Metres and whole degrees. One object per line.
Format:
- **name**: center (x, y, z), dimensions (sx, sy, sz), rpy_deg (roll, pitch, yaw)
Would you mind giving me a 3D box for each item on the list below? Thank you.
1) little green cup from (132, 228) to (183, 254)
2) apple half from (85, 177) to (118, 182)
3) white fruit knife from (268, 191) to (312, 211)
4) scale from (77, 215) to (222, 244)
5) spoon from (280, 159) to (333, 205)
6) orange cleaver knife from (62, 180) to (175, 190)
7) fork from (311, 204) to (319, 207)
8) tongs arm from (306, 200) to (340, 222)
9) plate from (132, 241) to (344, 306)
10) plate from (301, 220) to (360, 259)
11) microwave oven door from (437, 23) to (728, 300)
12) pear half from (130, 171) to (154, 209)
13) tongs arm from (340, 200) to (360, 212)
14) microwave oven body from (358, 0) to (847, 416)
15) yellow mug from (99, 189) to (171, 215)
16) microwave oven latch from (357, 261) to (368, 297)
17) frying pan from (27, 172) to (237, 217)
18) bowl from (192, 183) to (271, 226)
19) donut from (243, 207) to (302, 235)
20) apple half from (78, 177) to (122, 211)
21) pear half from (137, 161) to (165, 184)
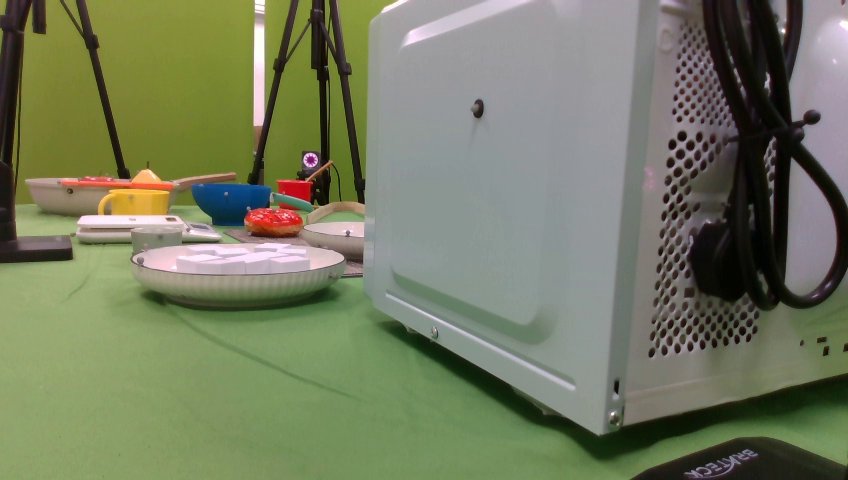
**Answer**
- **little green cup**: center (-0.342, 0.006, 0.779), dimensions (0.061, 0.038, 0.061), rpy_deg (2, 8, 0)
- **apple half**: center (-0.673, -0.096, 1.269), dimensions (0.082, 0.081, 0.032), rpy_deg (-4, 6, -40)
- **white fruit knife**: center (-0.364, -0.105, 1.464), dimensions (0.208, 0.027, 0.016), rpy_deg (15, 0, -34)
- **scale**: center (-0.434, -0.019, 0.963), dimensions (0.202, 0.031, 0.148), rpy_deg (-1, 9, -27)
- **spoon**: center (-0.316, -0.159, 1.640), dimensions (0.194, 0.022, 0.041), rpy_deg (-50, 32, -20)
- **orange cleaver knife**: center (-0.600, -0.110, 1.193), dimensions (0.212, 0.012, 0.077), rpy_deg (1, 8, -13)
- **fork**: center (-0.356, -0.105, 1.526), dimensions (0.208, 0.018, 0.028), rpy_deg (16, -5, -41)
- **tongs arm**: center (-0.235, -0.068, 1.414), dimensions (0.028, 0.028, 0.387), rpy_deg (-5, 8, 1)
- **plate**: center (-0.187, 0.033, 0.625), dimensions (0.208, 0.039, 0.207), rpy_deg (2, 8, 0)
- **plate**: center (-0.077, -0.002, 0.893), dimensions (0.209, 0.038, 0.209), rpy_deg (3, 8, 0)
- **microwave oven door**: center (0.180, -0.072, 0.621), dimensions (0.358, 0.243, 0.039), rpy_deg (-2, 9, -29)
- **pear half**: center (-0.640, -0.113, 1.361), dimensions (0.031, 0.088, 0.070), rpy_deg (5, 10, 5)
- **tongs arm**: center (-0.149, -0.070, 1.429), dimensions (0.051, 0.026, 0.383), rpy_deg (-4, 9, -15)
- **microwave oven body**: center (0.211, -0.047, 0.475), dimensions (0.444, 0.260, 0.324), rpy_deg (-1, 7, -28)
- **yellow mug**: center (-0.518, -0.055, 1.080), dimensions (0.099, 0.064, 0.131), rpy_deg (7, 10, 26)
- **microwave oven latch**: center (-0.019, 0.033, 0.531), dimensions (0.079, 0.029, 0.030), rpy_deg (-1, 7, -27)
- **frying pan**: center (-0.624, -0.118, 1.387), dimensions (0.305, 0.102, 0.490), rpy_deg (8, 17, 32)
- **bowl**: center (-0.382, -0.071, 1.202), dimensions (0.151, 0.077, 0.151), rpy_deg (3, 7, 0)
- **donut**: center (-0.261, -0.032, 1.043), dimensions (0.099, 0.048, 0.099), rpy_deg (4, 9, 0)
- **apple half**: center (-0.698, -0.099, 1.298), dimensions (0.081, 0.074, 0.053), rpy_deg (-9, 9, -40)
- **pear half**: center (-0.604, -0.120, 1.354), dimensions (0.056, 0.110, 0.076), rpy_deg (3, 11, 7)
